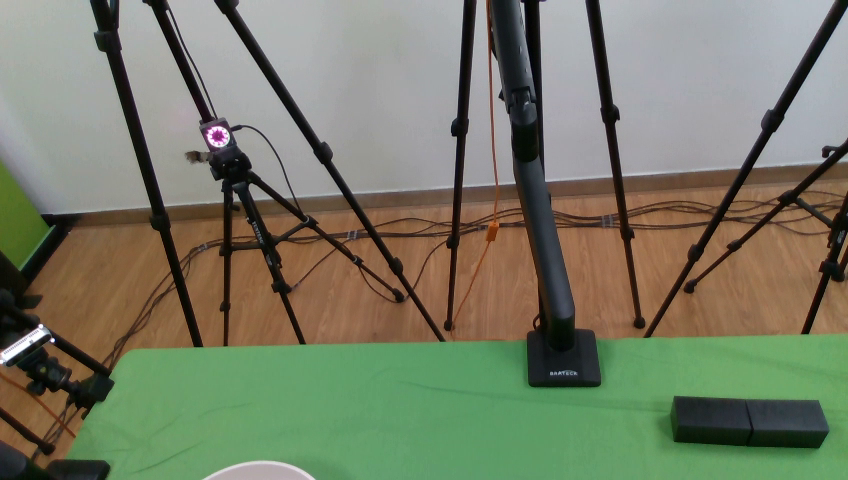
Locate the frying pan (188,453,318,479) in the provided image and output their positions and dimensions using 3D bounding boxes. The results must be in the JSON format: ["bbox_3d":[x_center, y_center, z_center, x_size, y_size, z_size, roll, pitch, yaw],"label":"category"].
[{"bbox_3d":[-0.269,0.507,0.762,0.306,0.103,0.483,-4,35,9],"label":"frying pan"}]
